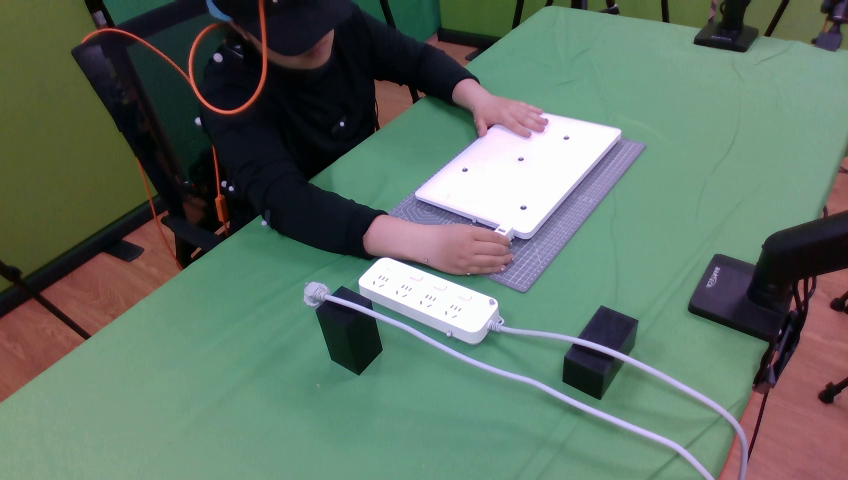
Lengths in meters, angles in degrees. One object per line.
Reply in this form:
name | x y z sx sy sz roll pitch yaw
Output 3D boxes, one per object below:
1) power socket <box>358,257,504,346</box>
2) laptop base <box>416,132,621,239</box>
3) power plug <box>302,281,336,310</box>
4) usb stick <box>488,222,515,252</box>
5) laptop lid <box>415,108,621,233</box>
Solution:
power socket | 0.003 0.084 0.862 0.225 0.033 0.072 20 49 28
laptop base | 0.179 -0.134 1.101 0.233 0.023 0.355 20 48 33
power plug | -0.133 0.081 0.783 0.035 0.053 0.072 -43 48 -7
usb stick | 0.124 -0.008 0.943 0.021 0.027 0.059 28 48 28
laptop lid | 0.176 -0.143 1.095 0.239 0.013 0.358 22 48 33
